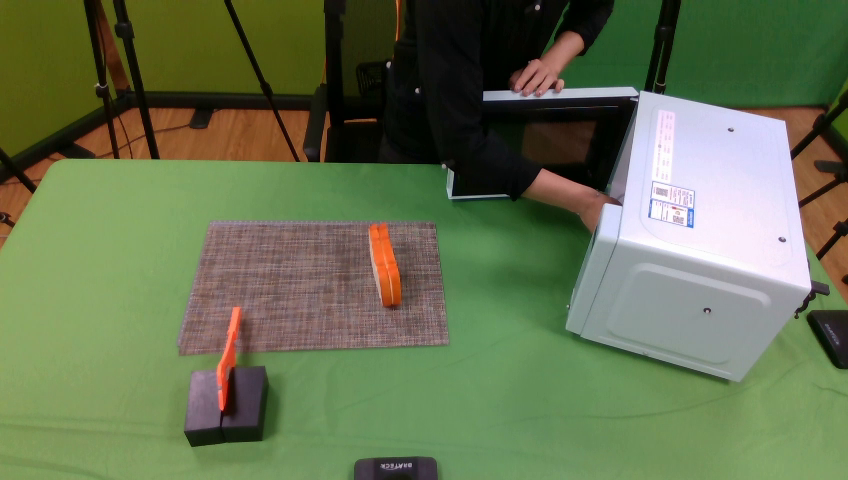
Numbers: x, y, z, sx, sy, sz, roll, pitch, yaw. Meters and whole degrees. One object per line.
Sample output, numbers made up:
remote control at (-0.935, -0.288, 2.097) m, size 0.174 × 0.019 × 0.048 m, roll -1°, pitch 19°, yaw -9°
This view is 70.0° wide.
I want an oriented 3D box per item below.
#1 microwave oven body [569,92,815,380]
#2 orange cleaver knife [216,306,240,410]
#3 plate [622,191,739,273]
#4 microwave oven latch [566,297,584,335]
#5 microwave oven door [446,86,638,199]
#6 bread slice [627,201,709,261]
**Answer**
microwave oven body at (0.468, -0.022, 1.082) m, size 0.325 × 0.261 × 0.440 m, roll 15°, pitch 46°, yaw 11°
orange cleaver knife at (-0.307, 0.180, 0.957) m, size 0.012 × 0.077 × 0.210 m, roll -2°, pitch 25°, yaw -8°
plate at (0.478, -0.011, 1.142) m, size 0.208 × 0.039 × 0.206 m, roll 1°, pitch 45°, yaw -1°
microwave oven latch at (0.268, 0.126, 1.059) m, size 0.030 × 0.029 × 0.079 m, roll 16°, pitch 46°, yaw 12°
microwave oven door at (0.229, -0.195, 1.223) m, size 0.356 × 0.245 × 0.039 m, roll -4°, pitch 46°, yaw -7°
bread slice at (0.473, -0.024, 1.164) m, size 0.134 × 0.018 × 0.106 m, roll -27°, pitch 54°, yaw -14°
